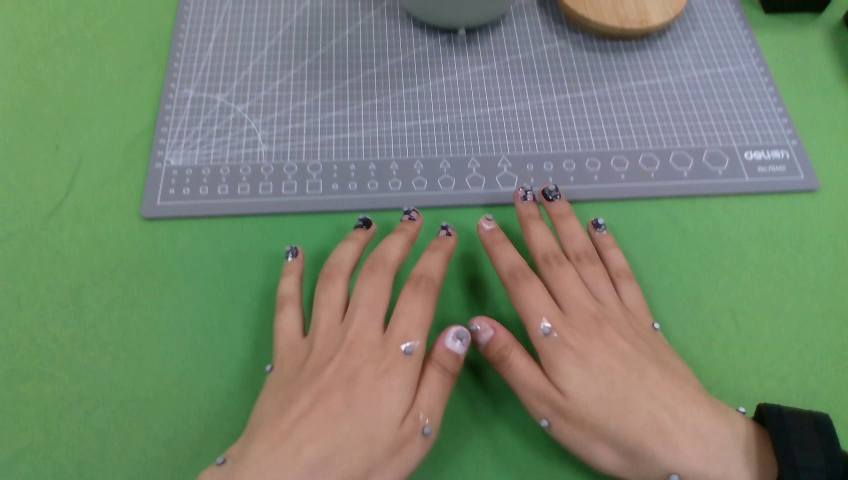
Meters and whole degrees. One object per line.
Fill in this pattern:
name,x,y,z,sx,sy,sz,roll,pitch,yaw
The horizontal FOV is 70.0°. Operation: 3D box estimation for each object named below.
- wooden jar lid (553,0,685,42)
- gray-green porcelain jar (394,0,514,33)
wooden jar lid,0.152,-0.198,0.485,0.108,0.021,0.107,1,61,-1
gray-green porcelain jar,0.024,-0.225,0.433,0.106,0.127,0.105,1,61,-2
